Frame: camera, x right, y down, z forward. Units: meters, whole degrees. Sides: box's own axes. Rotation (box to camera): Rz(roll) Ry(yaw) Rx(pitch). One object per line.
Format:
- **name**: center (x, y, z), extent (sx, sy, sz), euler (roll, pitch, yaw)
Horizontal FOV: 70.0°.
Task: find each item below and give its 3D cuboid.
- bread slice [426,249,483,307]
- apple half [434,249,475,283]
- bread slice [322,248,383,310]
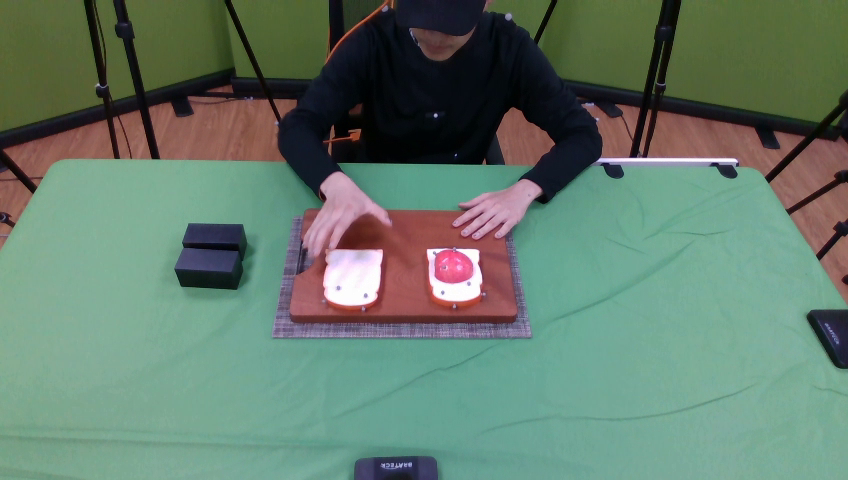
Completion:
- **bread slice**: center (0.058, 0.066, 1.100), extent (0.105, 0.019, 0.130), euler (-1, 46, -3)
- **apple half**: center (0.055, 0.039, 1.092), extent (0.081, 0.033, 0.081), euler (1, 46, -1)
- **bread slice**: center (-0.126, 0.068, 1.083), extent (0.107, 0.018, 0.133), euler (-1, 48, -4)
